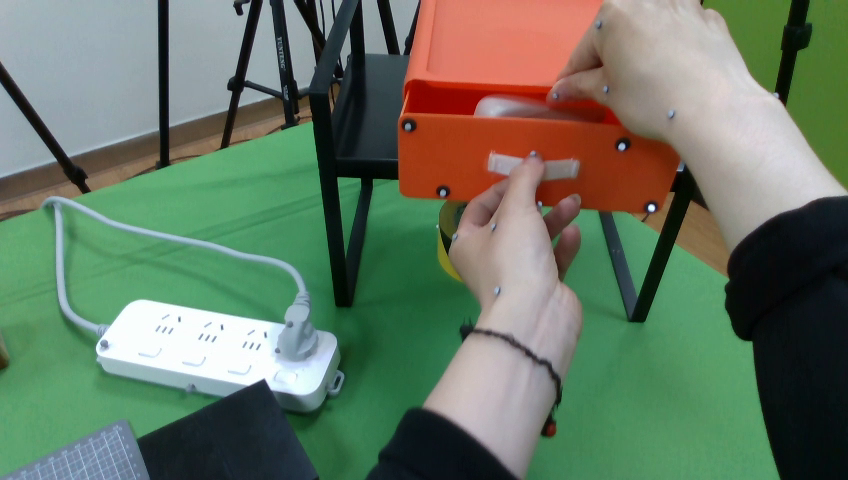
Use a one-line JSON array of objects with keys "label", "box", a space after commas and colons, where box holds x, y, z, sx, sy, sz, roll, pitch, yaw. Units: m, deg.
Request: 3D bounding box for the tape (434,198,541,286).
[{"label": "tape", "box": [0.069, -0.008, 0.667, 0.117, 0.053, 0.115, 1, 43, -1]}]

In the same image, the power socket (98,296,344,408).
[{"label": "power socket", "box": [-0.185, 0.099, 0.551, 0.226, 0.033, 0.071, 9, 42, 8]}]

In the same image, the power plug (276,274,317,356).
[{"label": "power plug", "box": [-0.106, 0.074, 0.547, 0.035, 0.053, 0.072, 16, 45, 16]}]

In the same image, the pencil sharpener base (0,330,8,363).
[{"label": "pencil sharpener base", "box": [-0.423, 0.071, 0.517, 0.077, 0.108, 0.060, -28, 50, -28]}]

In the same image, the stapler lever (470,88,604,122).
[{"label": "stapler lever", "box": [0.092, -0.100, 0.478, 0.118, 0.040, 0.026, -8, 45, -22]}]

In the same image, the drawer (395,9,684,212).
[{"label": "drawer", "box": [0.084, -0.117, 0.498, 0.194, 0.074, 0.210, 4, 41, 2]}]

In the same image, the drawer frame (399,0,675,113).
[{"label": "drawer frame", "box": [0.087, -0.153, 0.536, 0.202, 0.083, 0.211, 2, 41, 1]}]

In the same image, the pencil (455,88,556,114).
[{"label": "pencil", "box": [0.064, -0.120, 0.538, 0.194, 0.012, 0.012, -21, 46, -17]}]

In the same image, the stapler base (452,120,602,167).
[{"label": "stapler base", "box": [0.087, -0.082, 0.491, 0.131, 0.024, 0.041, -6, 44, -24]}]
